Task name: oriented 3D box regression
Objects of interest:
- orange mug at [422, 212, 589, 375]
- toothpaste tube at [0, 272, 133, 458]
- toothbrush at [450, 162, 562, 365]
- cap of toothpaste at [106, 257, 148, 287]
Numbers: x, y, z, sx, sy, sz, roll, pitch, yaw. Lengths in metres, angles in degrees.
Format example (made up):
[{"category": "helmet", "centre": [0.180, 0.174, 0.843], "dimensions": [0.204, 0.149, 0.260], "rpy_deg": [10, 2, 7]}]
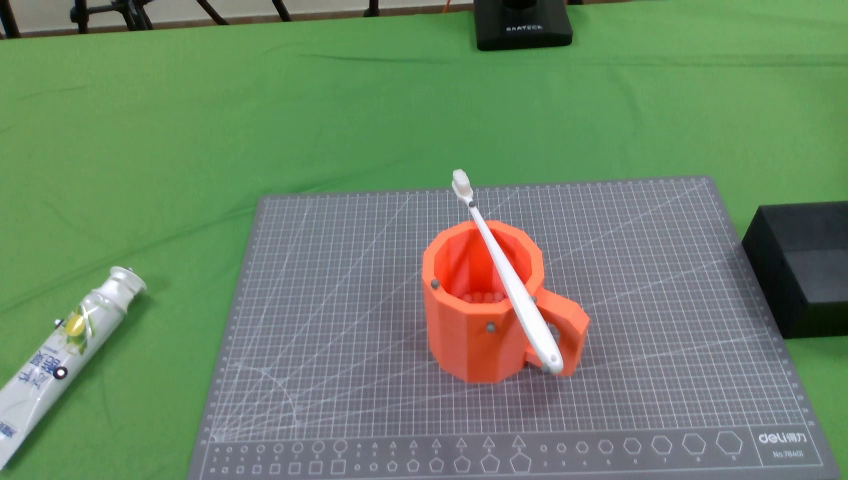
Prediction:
[{"category": "orange mug", "centre": [0.058, 0.047, 0.449], "dimensions": [0.125, 0.102, 0.083], "rpy_deg": [21, 55, 26]}, {"category": "toothpaste tube", "centre": [-0.297, 0.090, 0.490], "dimensions": [0.055, 0.035, 0.164], "rpy_deg": [14, 56, 24]}, {"category": "toothbrush", "centre": [0.052, 0.008, 0.415], "dimensions": [0.014, 0.017, 0.180], "rpy_deg": [-14, 50, -11]}, {"category": "cap of toothpaste", "centre": [-0.261, 0.030, 0.530], "dimensions": [0.037, 0.038, 0.011], "rpy_deg": [10, 50, 13]}]
